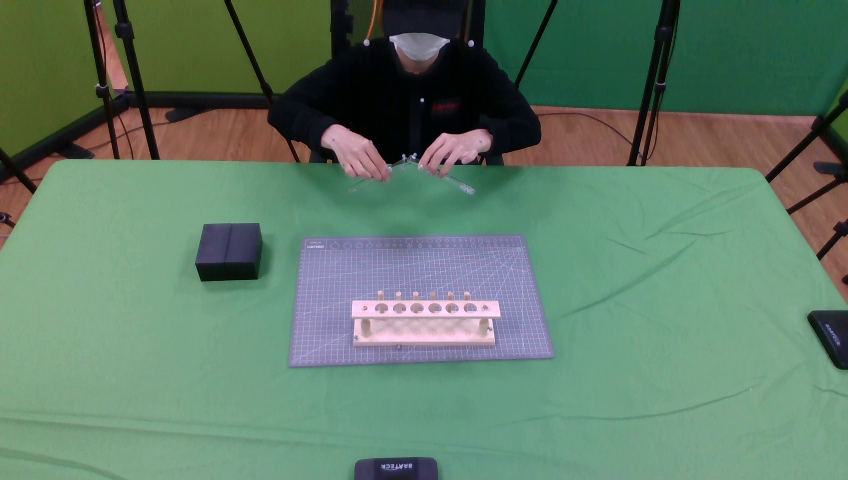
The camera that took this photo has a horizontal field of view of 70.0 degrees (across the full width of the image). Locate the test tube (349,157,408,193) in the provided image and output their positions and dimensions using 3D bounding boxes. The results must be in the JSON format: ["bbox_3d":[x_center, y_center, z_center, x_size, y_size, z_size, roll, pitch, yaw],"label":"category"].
[{"bbox_3d":[-0.090,-0.123,1.162,0.150,0.017,0.017,-23,34,33],"label":"test tube"}]

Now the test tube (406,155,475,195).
[{"bbox_3d":[0.033,-0.121,1.143,0.151,0.017,0.017,25,42,-20],"label":"test tube"}]

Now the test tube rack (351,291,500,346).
[{"bbox_3d":[0.000,0.129,1.026,0.242,0.085,0.066,1,46,-4],"label":"test tube rack"}]
